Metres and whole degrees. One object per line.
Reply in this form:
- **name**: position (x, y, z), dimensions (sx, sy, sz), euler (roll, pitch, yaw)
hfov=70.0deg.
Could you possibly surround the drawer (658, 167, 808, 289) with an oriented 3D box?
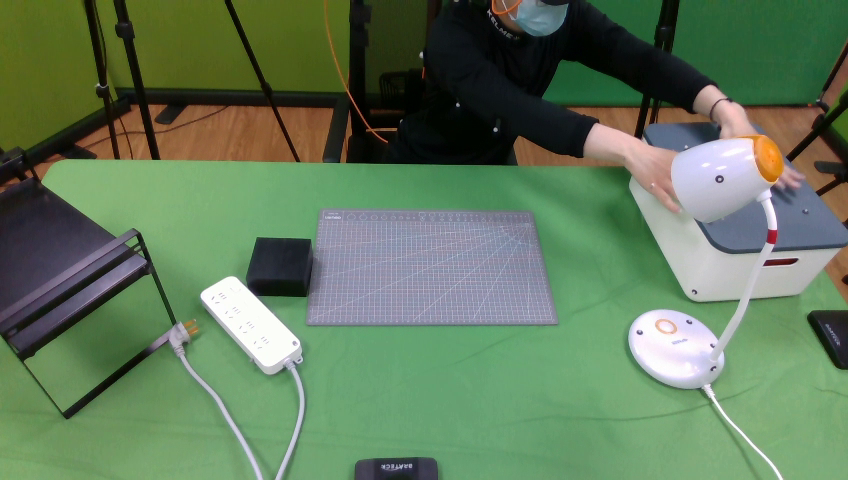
- **drawer**: position (0.583, -0.024, 1.164), dimensions (0.194, 0.073, 0.210), euler (-11, 55, 3)

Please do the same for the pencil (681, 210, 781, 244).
- **pencil**: position (0.599, -0.027, 1.186), dimensions (0.194, 0.012, 0.012), euler (19, 48, 10)

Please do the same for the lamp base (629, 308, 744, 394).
- **lamp base**: position (0.446, 0.139, 0.987), dimensions (0.161, 0.181, 0.178), euler (-19, 53, -20)

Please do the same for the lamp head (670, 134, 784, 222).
- **lamp head**: position (0.422, -0.089, 0.829), dimensions (0.113, 0.123, 0.112), euler (8, 74, -32)

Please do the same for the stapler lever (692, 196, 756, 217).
- **stapler lever**: position (0.588, -0.065, 1.185), dimensions (0.118, 0.040, 0.026), euler (2, 58, 12)

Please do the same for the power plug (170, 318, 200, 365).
- **power plug**: position (-0.392, 0.167, 1.013), dimensions (0.052, 0.035, 0.072), euler (-31, 89, -23)

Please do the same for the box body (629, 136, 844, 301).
- **box body**: position (0.593, -0.062, 1.202), dimensions (0.254, 0.161, 0.361), euler (-3, 47, -7)

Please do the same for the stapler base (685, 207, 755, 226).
- **stapler base**: position (0.590, -0.051, 1.204), dimensions (0.130, 0.024, 0.041), euler (3, 58, 11)

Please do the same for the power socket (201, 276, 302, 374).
- **power socket**: position (-0.297, 0.141, 1.034), dimensions (0.072, 0.033, 0.225), euler (-34, 58, -30)

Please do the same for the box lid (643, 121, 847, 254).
- **box lid**: position (0.596, -0.115, 1.150), dimensions (0.263, 0.015, 0.369), euler (-3, 46, -7)
